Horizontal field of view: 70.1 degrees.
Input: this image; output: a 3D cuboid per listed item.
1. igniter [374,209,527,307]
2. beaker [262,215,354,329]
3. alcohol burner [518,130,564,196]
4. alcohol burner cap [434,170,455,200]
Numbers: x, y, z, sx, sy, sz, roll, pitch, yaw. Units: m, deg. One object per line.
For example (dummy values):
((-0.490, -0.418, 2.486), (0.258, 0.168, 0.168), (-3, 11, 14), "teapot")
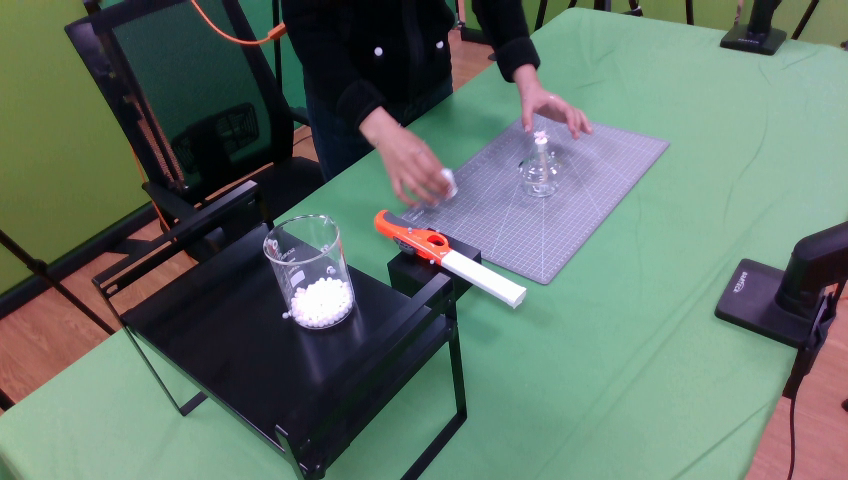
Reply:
((0.026, 0.019, 0.873), (0.274, 0.025, 0.057), (29, 52, 31), "igniter")
((-0.112, 0.033, 0.616), (0.073, 0.101, 0.084), (13, 44, 22), "beaker")
((0.199, -0.135, 1.027), (0.078, 0.119, 0.077), (-5, 42, 5), "alcohol burner")
((0.032, -0.095, 1.007), (0.034, 0.048, 0.033), (-8, 33, 6), "alcohol burner cap")
